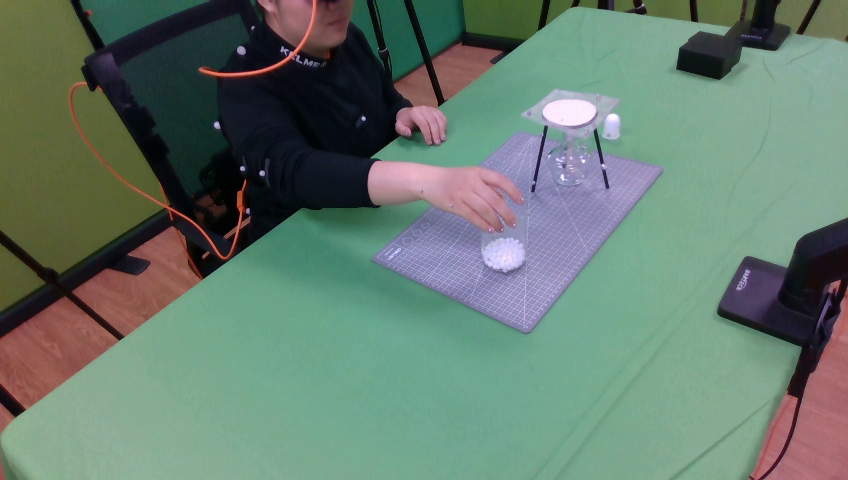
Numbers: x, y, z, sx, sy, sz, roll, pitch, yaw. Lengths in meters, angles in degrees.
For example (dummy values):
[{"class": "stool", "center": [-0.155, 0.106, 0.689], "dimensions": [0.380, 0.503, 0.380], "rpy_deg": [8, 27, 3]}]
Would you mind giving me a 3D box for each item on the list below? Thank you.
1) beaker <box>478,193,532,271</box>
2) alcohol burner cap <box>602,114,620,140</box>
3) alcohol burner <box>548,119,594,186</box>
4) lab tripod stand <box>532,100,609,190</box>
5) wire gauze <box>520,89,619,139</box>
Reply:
[{"class": "beaker", "center": [0.118, -0.011, 0.900], "dimensions": [0.074, 0.100, 0.083], "rpy_deg": [-28, 42, -25]}, {"class": "alcohol burner cap", "center": [0.359, -0.217, 1.157], "dimensions": [0.034, 0.048, 0.033], "rpy_deg": [-6, 40, 6]}, {"class": "alcohol burner", "center": [0.252, -0.154, 1.042], "dimensions": [0.078, 0.120, 0.077], "rpy_deg": [-7, 40, 6]}, {"class": "lab tripod stand", "center": [0.251, -0.161, 1.034], "dimensions": [0.148, 0.132, 0.147], "rpy_deg": [-4, 39, 4]}, {"class": "wire gauze", "center": [0.239, -0.213, 0.994], "dimensions": [0.124, 0.011, 0.122], "rpy_deg": [24, 49, 32]}]
